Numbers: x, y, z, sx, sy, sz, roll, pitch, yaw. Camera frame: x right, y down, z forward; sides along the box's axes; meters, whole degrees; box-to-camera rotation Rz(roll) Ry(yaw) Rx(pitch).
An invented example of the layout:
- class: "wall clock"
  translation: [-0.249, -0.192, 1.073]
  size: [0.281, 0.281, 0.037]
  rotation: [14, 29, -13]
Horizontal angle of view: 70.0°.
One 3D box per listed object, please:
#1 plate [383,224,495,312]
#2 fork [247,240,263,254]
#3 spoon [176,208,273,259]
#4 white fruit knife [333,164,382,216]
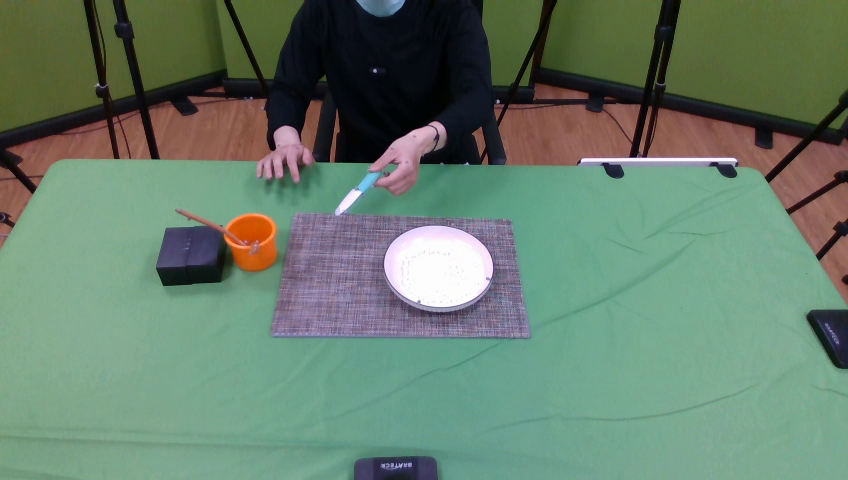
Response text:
- class: "plate"
  translation: [0.026, 0.055, 1.128]
  size: [0.209, 0.038, 0.208]
  rotation: [2, 46, -2]
- class: "fork"
  translation: [-0.301, 0.011, 1.075]
  size: [0.028, 0.018, 0.207]
  rotation: [3, 0, -15]
- class: "spoon"
  translation: [-0.355, -0.011, 1.088]
  size: [0.041, 0.195, 0.021]
  rotation: [22, 77, 54]
- class: "white fruit knife"
  translation: [-0.117, -0.091, 1.089]
  size: [0.027, 0.016, 0.206]
  rotation: [6, 31, 16]
